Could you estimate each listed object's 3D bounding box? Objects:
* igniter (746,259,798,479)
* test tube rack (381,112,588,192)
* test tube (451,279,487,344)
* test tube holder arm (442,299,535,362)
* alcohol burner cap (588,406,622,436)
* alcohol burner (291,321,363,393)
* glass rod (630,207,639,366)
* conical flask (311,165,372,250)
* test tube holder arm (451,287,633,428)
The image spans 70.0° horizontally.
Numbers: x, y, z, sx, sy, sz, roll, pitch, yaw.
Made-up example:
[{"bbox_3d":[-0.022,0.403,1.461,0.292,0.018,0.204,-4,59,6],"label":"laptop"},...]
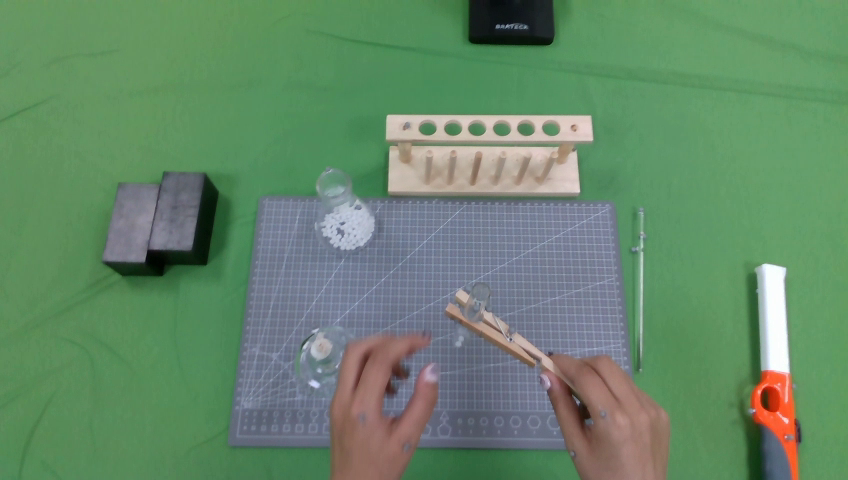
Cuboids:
[{"bbox_3d":[0.391,0.153,0.684,0.057,0.025,0.275,12,70,-7],"label":"igniter"},{"bbox_3d":[0.071,-0.107,0.745,0.242,0.086,0.066,0,70,-1],"label":"test tube rack"},{"bbox_3d":[0.037,0.066,0.528,0.017,0.151,0.017,1,66,-3],"label":"test tube"},{"bbox_3d":[0.055,0.076,0.510,0.087,0.015,0.010,29,73,10],"label":"test tube holder arm"},{"bbox_3d":[0.199,0.193,0.656,0.034,0.048,0.033,0,69,0],"label":"alcohol burner cap"},{"bbox_3d":[-0.105,0.120,0.641,0.078,0.120,0.077,0,68,1],"label":"alcohol burner"},{"bbox_3d":[0.254,0.052,0.730,0.008,0.008,0.198,7,72,2],"label":"glass rod"},{"bbox_3d":[-0.101,-0.041,0.696,0.075,0.122,0.075,0,69,0],"label":"conical flask"},{"bbox_3d":[0.095,0.096,0.503,0.177,0.015,0.013,35,75,12],"label":"test tube holder arm"}]
